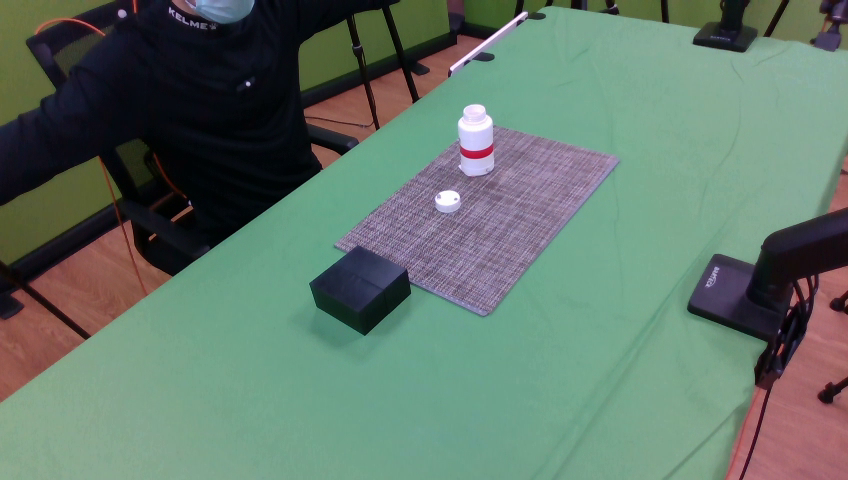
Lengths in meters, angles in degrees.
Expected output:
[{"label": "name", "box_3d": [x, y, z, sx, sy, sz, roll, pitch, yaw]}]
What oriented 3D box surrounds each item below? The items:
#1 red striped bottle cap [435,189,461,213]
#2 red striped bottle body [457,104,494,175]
[{"label": "red striped bottle cap", "box_3d": [0.042, -0.068, 1.040, 0.044, 0.018, 0.044, -5, 46, 6]}, {"label": "red striped bottle body", "box_3d": [0.093, -0.182, 1.085, 0.063, 0.120, 0.062, -4, 41, 4]}]
